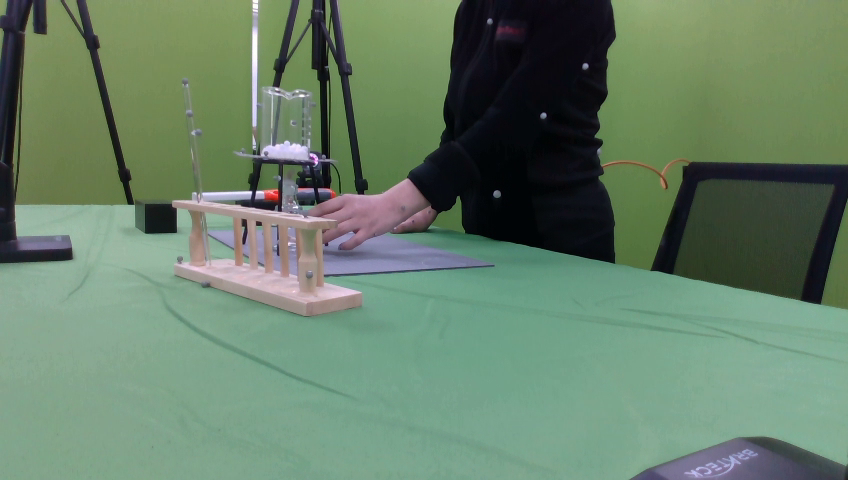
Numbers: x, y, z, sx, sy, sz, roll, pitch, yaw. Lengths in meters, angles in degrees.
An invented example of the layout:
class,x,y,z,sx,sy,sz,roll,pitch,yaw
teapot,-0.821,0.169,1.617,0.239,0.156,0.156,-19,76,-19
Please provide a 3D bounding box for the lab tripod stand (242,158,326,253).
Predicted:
class,x,y,z,sx,sy,sz,roll,pitch,yaw
lab tripod stand,-0.207,-0.054,0.895,0.148,0.131,0.148,3,5,0

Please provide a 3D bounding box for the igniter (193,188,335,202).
class,x,y,z,sx,sy,sz,roll,pitch,yaw
igniter,-0.312,-0.089,1.209,0.278,0.025,0.057,-5,13,-31

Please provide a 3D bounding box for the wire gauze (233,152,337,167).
class,x,y,z,sx,sy,sz,roll,pitch,yaw
wire gauze,-0.205,-0.118,0.887,0.122,0.011,0.124,2,4,-32

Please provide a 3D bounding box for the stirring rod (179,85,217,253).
class,x,y,z,sx,sy,sz,roll,pitch,yaw
stirring rod,-0.236,-0.073,0.634,0.006,0.176,0.014,0,10,41

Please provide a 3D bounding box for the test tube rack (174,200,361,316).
class,x,y,z,sx,sy,sz,roll,pitch,yaw
test tube rack,-0.169,0.009,0.622,0.241,0.085,0.067,9,9,41

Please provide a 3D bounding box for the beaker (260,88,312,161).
class,x,y,z,sx,sy,sz,roll,pitch,yaw
beaker,-0.201,-0.166,0.876,0.074,0.100,0.083,1,7,-18

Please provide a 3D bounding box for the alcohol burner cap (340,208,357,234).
class,x,y,z,sx,sy,sz,roll,pitch,yaw
alcohol burner cap,-0.142,-0.035,1.136,0.034,0.048,0.034,2,7,0

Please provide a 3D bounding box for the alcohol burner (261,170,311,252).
class,x,y,z,sx,sy,sz,roll,pitch,yaw
alcohol burner,-0.201,-0.043,0.891,0.078,0.119,0.078,1,6,0
